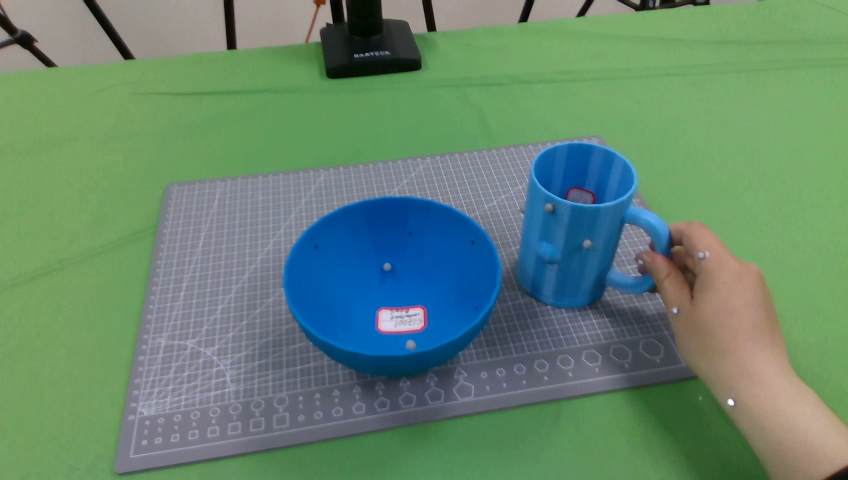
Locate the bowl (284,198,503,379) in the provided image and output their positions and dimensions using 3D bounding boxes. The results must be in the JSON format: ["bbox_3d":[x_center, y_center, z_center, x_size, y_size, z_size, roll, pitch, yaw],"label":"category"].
[{"bbox_3d":[-0.020,0.047,0.441,0.151,0.077,0.150,0,44,0],"label":"bowl"}]

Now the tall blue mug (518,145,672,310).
[{"bbox_3d":[0.132,-0.006,0.471,0.107,0.109,0.077,6,44,7],"label":"tall blue mug"}]
